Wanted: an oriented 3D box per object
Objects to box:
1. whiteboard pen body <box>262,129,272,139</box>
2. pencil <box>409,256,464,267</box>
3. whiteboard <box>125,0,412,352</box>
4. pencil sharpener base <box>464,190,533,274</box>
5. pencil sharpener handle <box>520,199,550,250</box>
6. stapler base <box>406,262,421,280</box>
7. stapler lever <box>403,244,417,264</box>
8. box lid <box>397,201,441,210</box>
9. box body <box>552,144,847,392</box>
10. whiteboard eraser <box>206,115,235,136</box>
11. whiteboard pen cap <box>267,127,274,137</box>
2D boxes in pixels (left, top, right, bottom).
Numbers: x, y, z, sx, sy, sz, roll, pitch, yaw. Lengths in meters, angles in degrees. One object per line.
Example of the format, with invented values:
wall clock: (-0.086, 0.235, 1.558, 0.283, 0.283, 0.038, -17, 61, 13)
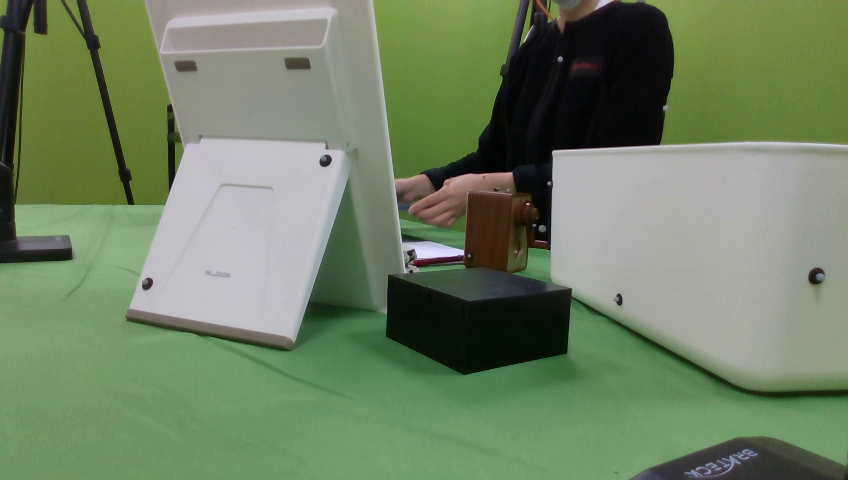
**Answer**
whiteboard pen body: (-0.361, -0.245, 1.393, 0.017, 0.017, 0.140, 0, 5, -20)
pencil: (0.041, 0.028, 0.850, 0.195, 0.012, 0.012, -5, 10, -45)
whiteboard: (-0.151, -0.050, 0.471, 0.216, 0.305, 0.144, 6, 27, 24)
pencil sharpener base: (0.102, -0.012, 0.813, 0.076, 0.107, 0.061, 8, 9, 36)
pencil sharpener handle: (0.147, -0.019, 0.785, 0.030, 0.068, 0.036, 8, 26, 36)
stapler base: (-0.069, 0.027, 0.759, 0.130, 0.024, 0.041, 9, 13, 23)
stapler lever: (-0.066, 0.003, 0.755, 0.117, 0.040, 0.027, 9, 13, 23)
box lid: (-0.183, -0.066, 1.101, 0.373, 0.015, 0.262, 0, 3, -30)
box body: (0.290, 0.002, 0.549, 0.255, 0.160, 0.363, 2, 7, -10)
whiteboard eraser: (-0.444, -0.250, 1.322, 0.056, 0.042, 0.112, -1, 8, -15)
whiteboard pen cap: (-0.340, -0.239, 1.338, 0.018, 0.018, 0.033, 1, -1, -15)
